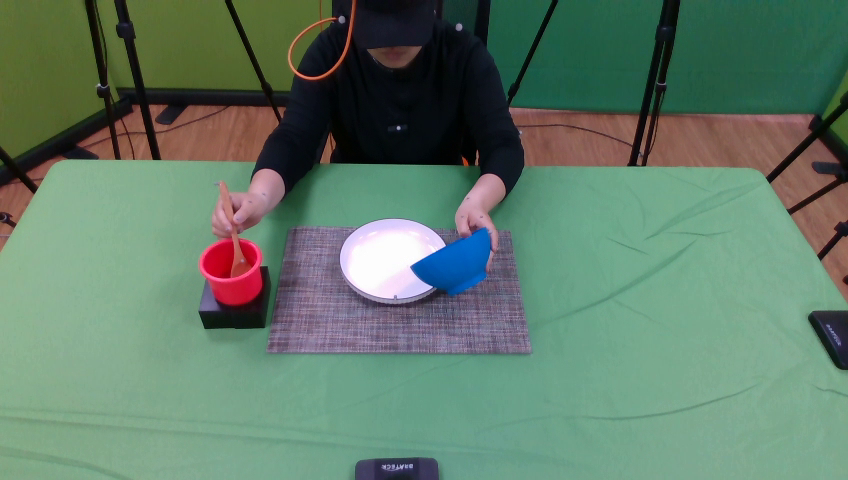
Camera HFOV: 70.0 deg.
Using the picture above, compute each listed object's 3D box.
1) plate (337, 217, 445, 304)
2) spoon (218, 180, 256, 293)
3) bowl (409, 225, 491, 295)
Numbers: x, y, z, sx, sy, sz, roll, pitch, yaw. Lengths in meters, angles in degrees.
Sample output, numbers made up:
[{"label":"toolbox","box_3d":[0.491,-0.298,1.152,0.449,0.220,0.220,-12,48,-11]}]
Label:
[{"label":"plate","box_3d":[-0.058,0.042,1.137,0.208,0.039,0.206,2,46,-2]},{"label":"spoon","box_3d":[-0.317,-0.005,1.014,0.042,0.194,0.021,-12,9,-20]},{"label":"bowl","box_3d":[0.058,0.043,1.038,0.151,0.151,0.077,-28,91,-26]}]
